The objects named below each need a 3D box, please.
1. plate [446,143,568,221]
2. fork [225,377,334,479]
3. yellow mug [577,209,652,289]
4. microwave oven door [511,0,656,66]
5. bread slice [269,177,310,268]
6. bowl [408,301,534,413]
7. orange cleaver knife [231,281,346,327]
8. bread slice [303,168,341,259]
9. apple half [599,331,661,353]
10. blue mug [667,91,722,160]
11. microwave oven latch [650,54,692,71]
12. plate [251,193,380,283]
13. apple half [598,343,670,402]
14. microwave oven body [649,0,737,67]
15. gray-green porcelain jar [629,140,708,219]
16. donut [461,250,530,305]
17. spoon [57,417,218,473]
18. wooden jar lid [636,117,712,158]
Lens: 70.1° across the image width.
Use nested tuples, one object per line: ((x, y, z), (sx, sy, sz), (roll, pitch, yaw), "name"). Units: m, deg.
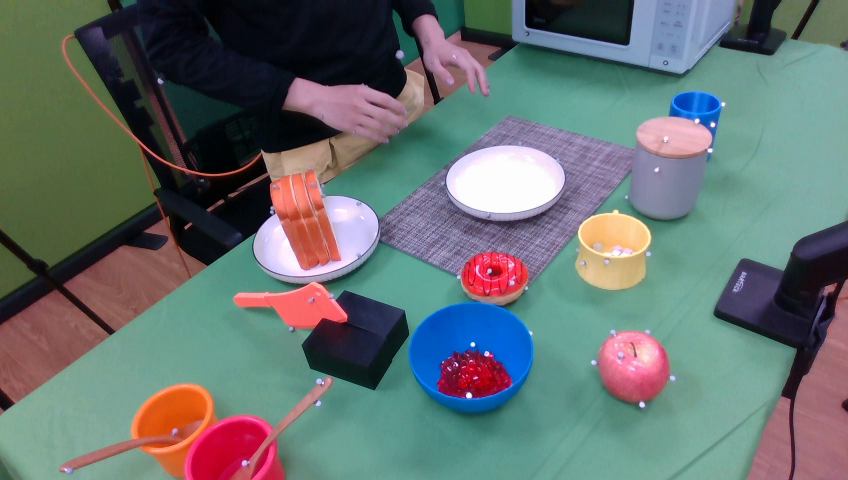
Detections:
((0.142, -0.097, 1.045), (0.207, 0.039, 0.206), (-4, 40, 4), "plate")
((-0.163, 0.216, 0.646), (0.207, 0.019, 0.028), (-49, 42, 16), "fork")
((0.279, 0.004, 0.893), (0.099, 0.064, 0.130), (5, 41, 15), "yellow mug")
((0.351, -0.539, 1.349), (0.353, 0.245, 0.039), (24, 50, 31), "microwave oven door")
((-0.211, -0.034, 0.946), (0.019, 0.132, 0.104), (-19, 39, -3), "bread slice")
((0.059, 0.156, 0.739), (0.151, 0.077, 0.150), (-4, 40, 4), "bowl")
((-0.192, 0.093, 0.844), (0.210, 0.077, 0.012), (-7, 31, 38), "orange cleaver knife")
((-0.161, -0.046, 0.952), (0.018, 0.135, 0.106), (-18, 45, -7), "bread slice")
((0.249, 0.134, 0.738), (0.081, 0.081, 0.032), (-1, 46, 7), "apple half")
((0.474, -0.207, 1.079), (0.082, 0.106, 0.116), (4, 42, 13), "blue mug")
((0.531, -0.386, 1.301), (0.078, 0.029, 0.030), (25, 51, 32), "microwave oven latch")
((-0.173, -0.001, 0.984), (0.209, 0.038, 0.208), (-4, 41, 4), "plate")
((0.247, 0.161, 0.710), (0.081, 0.075, 0.053), (2, 47, 5), "apple half")
((0.475, -0.602, 1.411), (0.438, 0.261, 0.327), (23, 50, 32), "microwave oven body")
((0.383, -0.105, 0.958), (0.106, 0.127, 0.105), (-4, 41, 4), "gray-green porcelain jar")
((0.103, 0.053, 0.872), (0.099, 0.048, 0.098), (-5, 40, 4), "donut")
((-0.304, 0.221, 0.661), (0.041, 0.195, 0.021), (19, 92, 27), "spoon")
((0.377, -0.151, 0.917), (0.108, 0.021, 0.108), (-2, 42, 3), "wooden jar lid")
